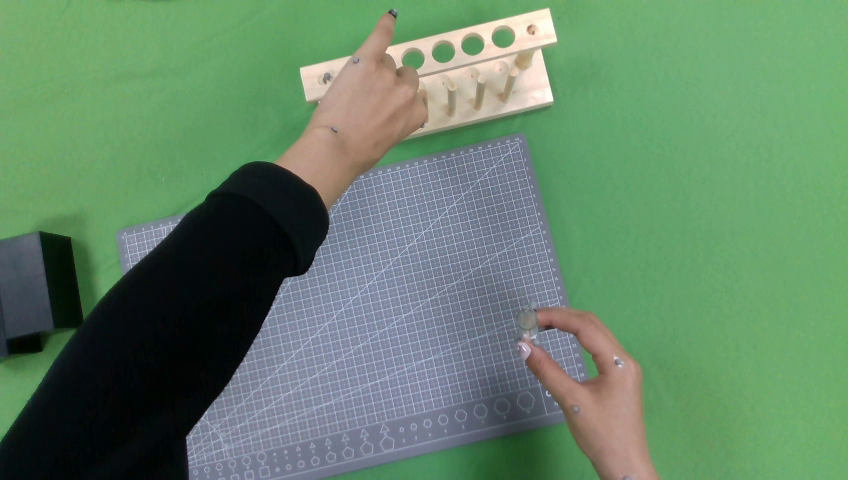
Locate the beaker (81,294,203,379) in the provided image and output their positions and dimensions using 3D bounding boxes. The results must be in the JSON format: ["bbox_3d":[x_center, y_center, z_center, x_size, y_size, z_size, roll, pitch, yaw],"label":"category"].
[{"bbox_3d":[-0.265,0.090,0.590,0.084,0.100,0.074,-21,83,0],"label":"beaker"}]

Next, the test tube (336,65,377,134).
[{"bbox_3d":[-0.061,-0.128,0.567,0.017,0.150,0.017,0,83,3],"label":"test tube"}]

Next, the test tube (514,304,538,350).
[{"bbox_3d":[0.084,0.074,0.491,0.017,0.151,0.017,-3,73,10],"label":"test tube"}]

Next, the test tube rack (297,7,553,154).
[{"bbox_3d":[0.006,-0.157,0.612,0.242,0.085,0.066,-13,83,2],"label":"test tube rack"}]
